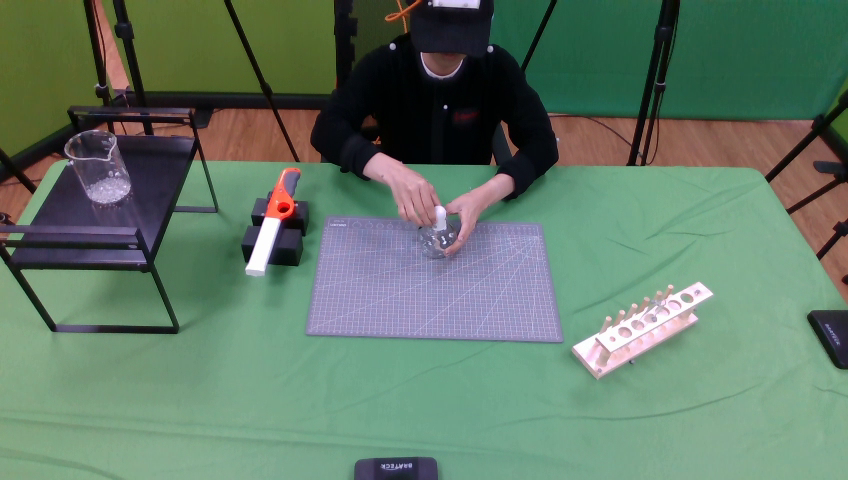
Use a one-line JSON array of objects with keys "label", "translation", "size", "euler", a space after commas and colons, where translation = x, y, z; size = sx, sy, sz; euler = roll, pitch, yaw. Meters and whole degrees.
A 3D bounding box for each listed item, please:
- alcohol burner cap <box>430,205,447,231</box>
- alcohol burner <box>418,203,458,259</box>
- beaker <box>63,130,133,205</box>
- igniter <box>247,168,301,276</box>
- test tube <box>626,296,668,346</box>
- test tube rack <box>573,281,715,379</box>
[{"label": "alcohol burner cap", "translation": [0.028, -0.043, 1.126], "size": [0.034, 0.048, 0.033], "euler": [2, 47, -2]}, {"label": "alcohol burner", "translation": [0.026, -0.022, 1.149], "size": [0.078, 0.120, 0.077], "euler": [1, 45, -1]}, {"label": "beaker", "translation": [-0.511, -0.112, 0.964], "size": [0.083, 0.101, 0.074], "euler": [31, 52, 23]}, {"label": "igniter", "translation": [-0.282, -0.043, 1.149], "size": [0.057, 0.025, 0.275], "euler": [8, 48, -1]}, {"label": "test tube", "translation": [0.352, 0.133, 0.970], "size": [0.017, 0.151, 0.017], "euler": [3, 54, -4]}, {"label": "test tube rack", "translation": [0.378, 0.140, 1.038], "size": [0.242, 0.085, 0.066], "euler": [-22, 51, -23]}]
